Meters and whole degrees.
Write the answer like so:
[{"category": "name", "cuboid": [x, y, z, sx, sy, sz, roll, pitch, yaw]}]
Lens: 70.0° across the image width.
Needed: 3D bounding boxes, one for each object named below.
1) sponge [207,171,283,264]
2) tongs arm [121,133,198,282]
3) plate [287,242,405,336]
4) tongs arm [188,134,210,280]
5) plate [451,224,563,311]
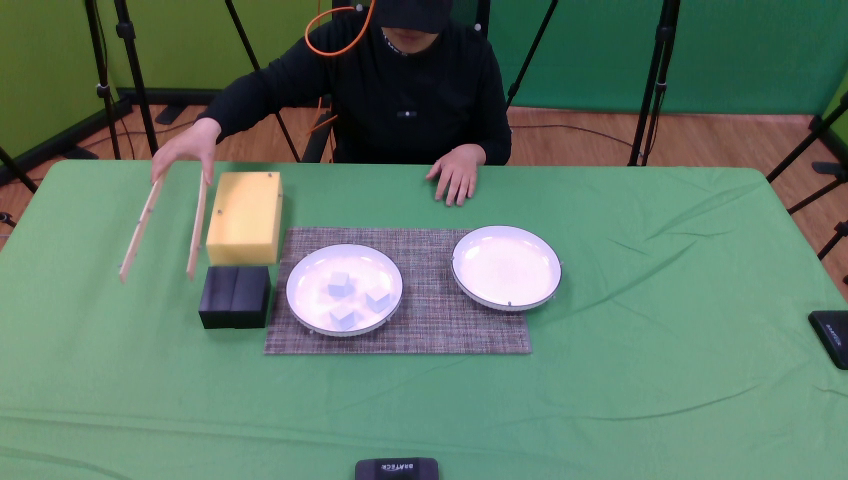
[{"category": "sponge", "cuboid": [-0.346, -0.048, 1.191, 0.118, 0.061, 0.205, -2, 46, -6]}, {"category": "tongs arm", "cuboid": [-0.469, -0.073, 1.093, 0.051, 0.026, 0.382, -2, 44, -5]}, {"category": "plate", "cuboid": [-0.138, 0.090, 1.085, 0.208, 0.039, 0.206, 2, 46, -2]}, {"category": "tongs arm", "cuboid": [-0.411, -0.075, 1.100, 0.028, 0.028, 0.385, -9, 45, -7]}, {"category": "plate", "cuboid": [0.154, 0.053, 1.140, 0.209, 0.038, 0.208, 2, 46, -2]}]
